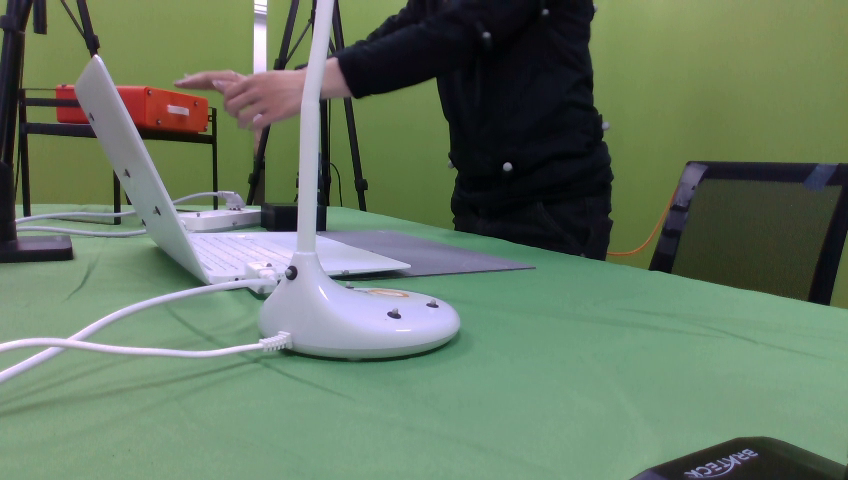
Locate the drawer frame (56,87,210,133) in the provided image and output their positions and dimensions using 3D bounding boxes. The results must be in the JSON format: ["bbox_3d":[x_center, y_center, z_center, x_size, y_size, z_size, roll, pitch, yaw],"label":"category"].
[{"bbox_3d":[-0.598,-0.269,1.261,0.213,0.082,0.202,4,8,14],"label":"drawer frame"}]

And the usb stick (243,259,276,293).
[{"bbox_3d":[-0.166,0.035,0.604,0.021,0.027,0.059,-8,8,-28],"label":"usb stick"}]

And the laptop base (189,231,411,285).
[{"bbox_3d":[-0.204,0.019,0.807,0.237,0.023,0.352,0,7,-33],"label":"laptop base"}]

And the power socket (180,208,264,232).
[{"bbox_3d":[-0.381,-0.038,1.128,0.072,0.032,0.227,4,8,16],"label":"power socket"}]

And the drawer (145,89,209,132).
[{"bbox_3d":[-0.595,-0.268,1.263,0.211,0.073,0.195,3,8,15],"label":"drawer"}]

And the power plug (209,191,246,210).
[{"bbox_3d":[-0.387,-0.071,1.204,0.072,0.052,0.035,4,8,25],"label":"power plug"}]

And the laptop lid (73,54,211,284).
[{"bbox_3d":[-0.341,-0.079,0.704,0.013,0.242,0.355,-30,23,-26],"label":"laptop lid"}]

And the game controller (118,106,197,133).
[{"bbox_3d":[-0.555,-0.251,1.255,0.097,0.051,0.155,9,12,18],"label":"game controller"}]

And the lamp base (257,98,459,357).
[{"bbox_3d":[-0.055,-0.014,0.463,0.160,0.180,0.180,6,11,27],"label":"lamp base"}]
